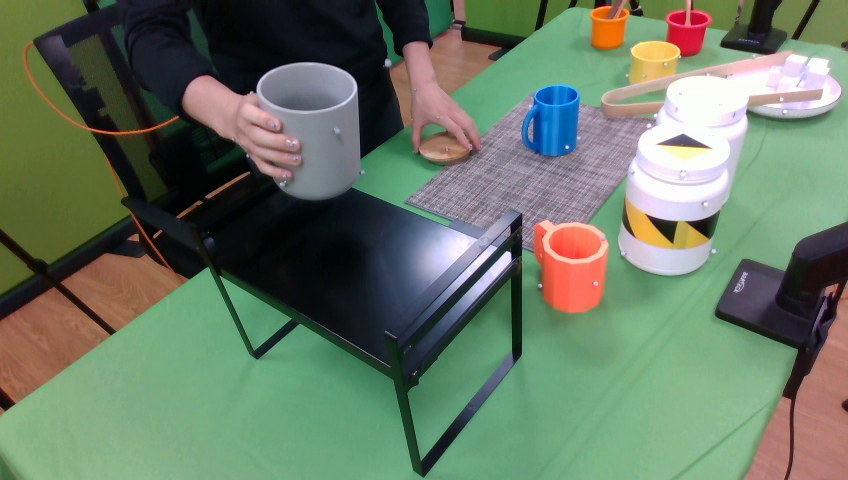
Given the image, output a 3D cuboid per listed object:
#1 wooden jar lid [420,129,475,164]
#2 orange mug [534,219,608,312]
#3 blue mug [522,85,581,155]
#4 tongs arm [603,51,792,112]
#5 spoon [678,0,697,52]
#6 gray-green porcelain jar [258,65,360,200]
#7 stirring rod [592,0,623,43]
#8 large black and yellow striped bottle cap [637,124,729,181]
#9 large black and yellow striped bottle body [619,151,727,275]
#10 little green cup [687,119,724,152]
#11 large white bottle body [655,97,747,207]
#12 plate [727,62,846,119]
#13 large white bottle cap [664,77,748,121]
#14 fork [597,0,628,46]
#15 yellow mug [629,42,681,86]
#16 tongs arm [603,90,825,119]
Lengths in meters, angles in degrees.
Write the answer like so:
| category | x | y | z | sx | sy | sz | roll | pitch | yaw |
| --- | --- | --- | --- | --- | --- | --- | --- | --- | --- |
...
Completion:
| category | x | y | z | sx | sy | sz | roll | pitch | yaw |
| --- | --- | --- | --- | --- | --- | --- | --- | --- | --- |
| wooden jar lid | 0.047 | -0.182 | 1.183 | 0.108 | 0.021 | 0.108 | -6 | 38 | 6 |
| orange mug | 0.200 | 0.027 | 0.858 | 0.084 | 0.101 | 0.125 | -24 | 47 | -18 |
| blue mug | 0.233 | -0.218 | 1.127 | 0.117 | 0.106 | 0.081 | -23 | 43 | -16 |
| tongs arm | 0.552 | -0.320 | 1.224 | 0.384 | 0.027 | 0.050 | -11 | 44 | 7 |
| spoon | 0.614 | -0.526 | 1.402 | 0.041 | 0.022 | 0.193 | 3 | 86 | 11 |
| gray-green porcelain jar | -0.126 | -0.117 | 0.688 | 0.106 | 0.127 | 0.105 | 2 | 44 | -2 |
| stirring rod | 0.460 | -0.557 | 1.461 | 0.014 | 0.176 | 0.006 | 36 | 11 | 23 |
| large black and yellow striped bottle cap | 0.346 | -0.119 | 0.810 | 0.115 | 0.019 | 0.114 | -5 | 41 | 5 |
| large black and yellow striped bottle body | 0.354 | -0.056 | 0.865 | 0.131 | 0.185 | 0.130 | -4 | 41 | 4 |
| little green cup | 0.514 | -0.191 | 1.109 | 0.061 | 0.039 | 0.061 | -5 | 40 | 5 |
| large white bottle body | 0.431 | -0.148 | 0.959 | 0.130 | 0.185 | 0.130 | -4 | 41 | 4 |
| plate | 0.709 | -0.292 | 1.197 | 0.207 | 0.039 | 0.206 | -4 | 40 | 4 |
| large white bottle cap | 0.421 | -0.212 | 0.905 | 0.115 | 0.018 | 0.114 | -4 | 40 | 4 |
| fork | 0.479 | -0.558 | 1.455 | 0.028 | 0.019 | 0.207 | 35 | 100 | 38 |
| yellow mug | 0.495 | -0.389 | 1.321 | 0.100 | 0.064 | 0.130 | -14 | 40 | -6 |
| tongs arm | 0.546 | -0.262 | 1.163 | 0.386 | 0.028 | 0.028 | -1 | 50 | 18 |
